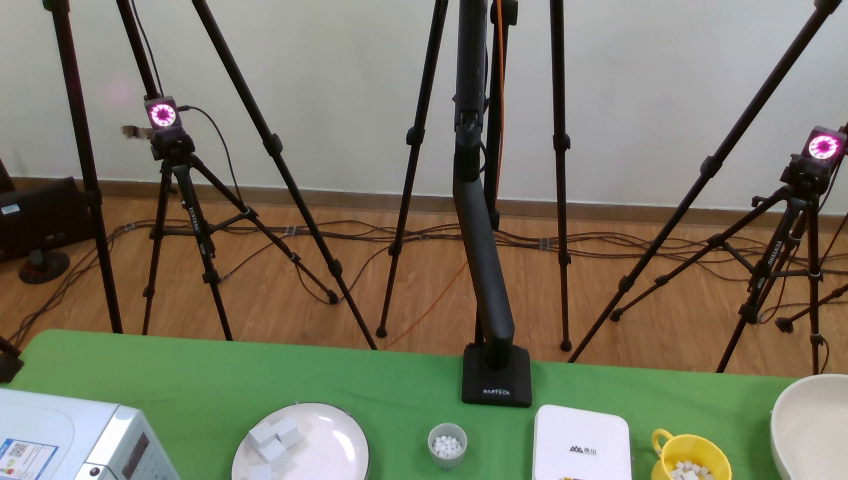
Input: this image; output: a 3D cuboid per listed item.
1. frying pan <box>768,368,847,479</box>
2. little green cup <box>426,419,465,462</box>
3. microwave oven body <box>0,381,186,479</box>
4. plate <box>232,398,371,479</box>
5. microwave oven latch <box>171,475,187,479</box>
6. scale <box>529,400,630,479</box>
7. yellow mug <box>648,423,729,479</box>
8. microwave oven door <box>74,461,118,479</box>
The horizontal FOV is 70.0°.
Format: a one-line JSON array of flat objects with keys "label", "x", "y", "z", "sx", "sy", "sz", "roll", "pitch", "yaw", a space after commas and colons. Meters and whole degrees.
[{"label": "frying pan", "x": 0.703, "y": 0.385, "z": 0.835, "sx": 0.307, "sy": 0.103, "sz": 0.482, "roll": -15, "pitch": 37, "yaw": -15}, {"label": "little green cup", "x": 0.034, "y": 0.319, "z": 0.956, "sx": 0.061, "sy": 0.039, "sz": 0.061, "roll": 0, "pitch": 42, "yaw": 1}, {"label": "microwave oven body", "x": -0.535, "y": 0.412, "z": 0.682, "sx": 0.326, "sy": 0.262, "sz": 0.438, "roll": 6, "pitch": 44, "yaw": 6}, {"label": "plate", "x": -0.185, "y": 0.341, "z": 0.932, "sx": 0.208, "sy": 0.039, "sz": 0.205, "roll": 0, "pitch": 42, "yaw": 0}, {"label": "microwave oven latch", "x": -0.361, "y": 0.380, "z": 0.861, "sx": 0.030, "sy": 0.030, "sz": 0.078, "roll": 8, "pitch": 44, "yaw": 7}, {"label": "scale", "x": 0.239, "y": 0.345, "z": 0.933, "sx": 0.148, "sy": 0.032, "sz": 0.199, "roll": 6, "pitch": 43, "yaw": 8}, {"label": "yellow mug", "x": 0.388, "y": 0.334, "z": 0.919, "sx": 0.100, "sy": 0.064, "sz": 0.129, "roll": -19, "pitch": 45, "yaw": -19}, {"label": "microwave oven door", "x": -0.397, "y": 0.450, "z": 0.633, "sx": 0.039, "sy": 0.246, "sz": 0.352, "roll": 5, "pitch": 43, "yaw": 6}]
